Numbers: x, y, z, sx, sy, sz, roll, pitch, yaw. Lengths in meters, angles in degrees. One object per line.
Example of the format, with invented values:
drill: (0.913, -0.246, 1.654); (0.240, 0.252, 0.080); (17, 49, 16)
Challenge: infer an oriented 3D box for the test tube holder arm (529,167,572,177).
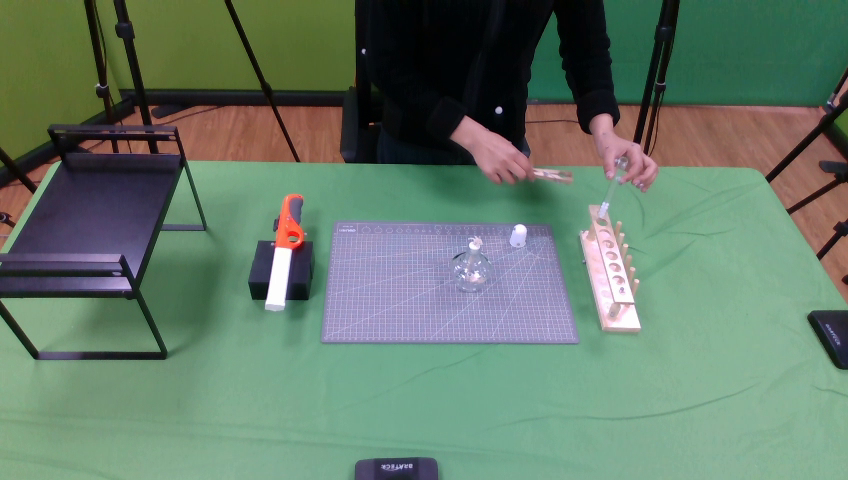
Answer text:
test tube holder arm: (0.253, -0.136, 1.214); (0.088, 0.015, 0.010); (4, 66, -6)

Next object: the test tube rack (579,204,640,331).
test tube rack: (0.353, 0.047, 1.137); (0.067, 0.085, 0.241); (2, 46, -2)

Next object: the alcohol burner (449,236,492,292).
alcohol burner: (0.086, 0.038, 1.101); (0.078, 0.119, 0.077); (2, 44, -2)

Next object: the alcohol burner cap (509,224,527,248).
alcohol burner cap: (0.189, -0.011, 1.206); (0.034, 0.048, 0.033); (2, 45, -1)

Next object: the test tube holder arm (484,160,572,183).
test tube holder arm: (0.207, -0.137, 1.208); (0.178, 0.015, 0.013); (10, 65, -3)

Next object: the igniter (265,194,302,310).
igniter: (-0.253, 0.011, 1.099); (0.057, 0.025, 0.274); (9, 46, -12)

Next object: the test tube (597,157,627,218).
test tube: (0.338, -0.092, 1.094); (0.017, 0.151, 0.017); (1, 52, -1)
